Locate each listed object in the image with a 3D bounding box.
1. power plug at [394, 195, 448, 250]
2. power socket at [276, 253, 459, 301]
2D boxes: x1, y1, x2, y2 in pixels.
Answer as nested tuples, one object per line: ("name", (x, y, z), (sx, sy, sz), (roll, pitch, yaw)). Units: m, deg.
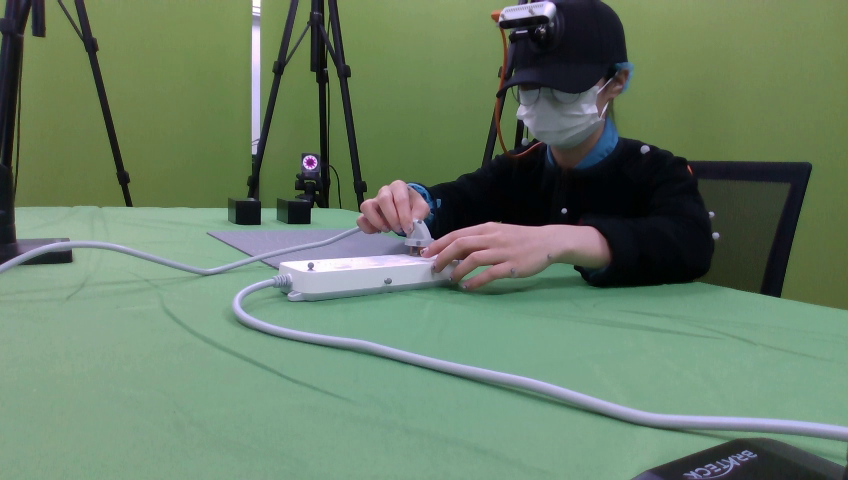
("power plug", (-0.006, -0.023, 0.722), (0.053, 0.072, 0.035), (17, -15, -26))
("power socket", (-0.056, 0.037, 0.674), (0.228, 0.032, 0.072), (-3, 8, -38))
